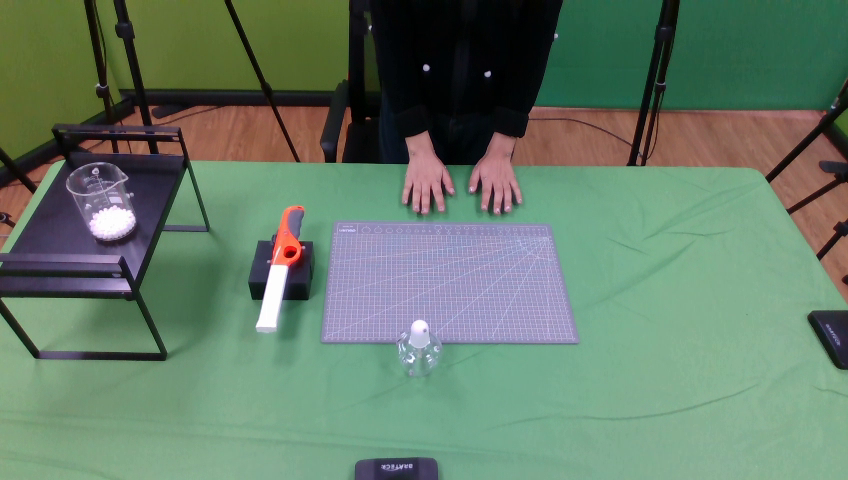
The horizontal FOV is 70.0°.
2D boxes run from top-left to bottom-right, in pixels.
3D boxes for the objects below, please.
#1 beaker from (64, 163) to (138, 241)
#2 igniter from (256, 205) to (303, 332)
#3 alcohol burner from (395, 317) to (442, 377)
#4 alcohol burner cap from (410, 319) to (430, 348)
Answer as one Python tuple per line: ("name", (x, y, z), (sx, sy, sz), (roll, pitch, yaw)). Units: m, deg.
("beaker", (-0.477, -0.055, 0.910), (0.084, 0.101, 0.073), (-9, 48, -13))
("igniter", (-0.252, 0.040, 1.070), (0.057, 0.025, 0.275), (3, 50, -1))
("alcohol burner", (-0.009, 0.166, 0.972), (0.078, 0.120, 0.077), (1, 45, 0))
("alcohol burner cap", (-0.007, 0.144, 0.950), (0.034, 0.048, 0.033), (0, 47, 0))
